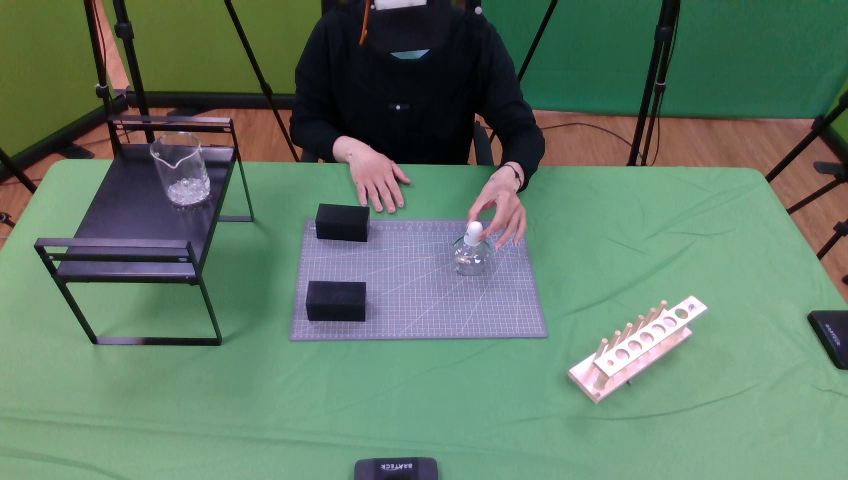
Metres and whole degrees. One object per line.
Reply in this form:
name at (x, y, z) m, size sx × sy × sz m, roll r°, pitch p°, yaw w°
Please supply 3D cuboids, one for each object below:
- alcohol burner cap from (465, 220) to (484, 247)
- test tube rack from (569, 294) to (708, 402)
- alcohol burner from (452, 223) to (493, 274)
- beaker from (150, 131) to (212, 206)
alcohol burner cap at (0.093, -0.015, 1.097) m, size 0.034 × 0.048 × 0.033 m, roll 1°, pitch 40°, yaw -1°
test tube rack at (0.360, 0.167, 1.014) m, size 0.242 × 0.085 × 0.066 m, roll -25°, pitch 52°, yaw -25°
alcohol burner at (0.091, 0.008, 1.124) m, size 0.078 × 0.119 × 0.077 m, roll 2°, pitch 48°, yaw -2°
beaker at (-0.385, -0.110, 0.969) m, size 0.074 × 0.101 × 0.083 m, roll -6°, pitch 48°, yaw -9°
